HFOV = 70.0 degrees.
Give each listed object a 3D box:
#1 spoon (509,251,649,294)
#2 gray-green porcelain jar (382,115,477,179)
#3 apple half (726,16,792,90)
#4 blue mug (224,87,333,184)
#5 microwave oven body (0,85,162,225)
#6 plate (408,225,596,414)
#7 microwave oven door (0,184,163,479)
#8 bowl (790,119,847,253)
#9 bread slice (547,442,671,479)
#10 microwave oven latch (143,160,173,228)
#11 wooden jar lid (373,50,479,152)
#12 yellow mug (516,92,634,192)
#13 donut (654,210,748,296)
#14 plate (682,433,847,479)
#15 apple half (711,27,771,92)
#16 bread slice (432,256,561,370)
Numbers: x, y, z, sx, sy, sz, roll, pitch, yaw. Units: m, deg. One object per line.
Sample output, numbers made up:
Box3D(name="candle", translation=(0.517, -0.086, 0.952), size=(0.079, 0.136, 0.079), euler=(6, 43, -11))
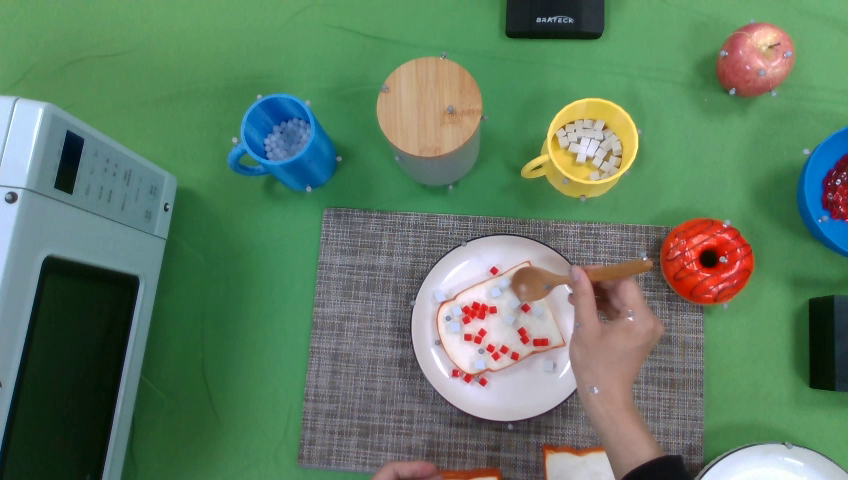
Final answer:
Box3D(name="spoon", translation=(0.146, 0.031, 0.600), size=(0.022, 0.193, 0.041), euler=(-25, 94, -26))
Box3D(name="gray-green porcelain jar", translation=(0.007, -0.130, 0.683), size=(0.106, 0.127, 0.105), euler=(-1, 81, 4))
Box3D(name="apple half", translation=(0.386, -0.218, 0.697), size=(0.053, 0.075, 0.080), euler=(-28, 76, -6))
Box3D(name="blue mug", translation=(-0.173, -0.112, 0.703), size=(0.116, 0.106, 0.082), euler=(-22, 79, 1))
Box3D(name="microwave oven body", translation=(-0.498, 0.085, 0.613), size=(0.326, 0.261, 0.440), euler=(7, 82, 5))
Box3D(name="plate", translation=(0.086, 0.088, 0.685), size=(0.207, 0.039, 0.207), euler=(-1, 81, 4))
Box3D(name="microwave oven door", translation=(-0.360, 0.143, 0.589), size=(0.039, 0.245, 0.354), euler=(6, 81, 5))
Box3D(name="bowl", translation=(0.468, -0.051, 0.663), size=(0.151, 0.077, 0.151), euler=(-1, 82, 4))
Box3D(name="bread slice", translation=(0.197, 0.268, 0.627), size=(0.135, 0.018, 0.106), euler=(-1, 78, -16))
Box3D(name="microwave oven latch", translation=(-0.322, -0.056, 0.720), size=(0.030, 0.029, 0.079), euler=(9, 83, 5))
Box3D(name="wooden jar lid", translation=(0.002, -0.141, 0.622), size=(0.108, 0.021, 0.108), euler=(-1, 79, 4))
Box3D(name="yellow mug", translation=(0.169, -0.106, 0.699), size=(0.131, 0.064, 0.099), euler=(-20, 80, 2))
Box3D(name="donut", translation=(0.308, 0.015, 0.677), size=(0.099, 0.048, 0.098), euler=(-1, 82, 4))
Box3D(name="plate", translation=(0.362, 0.308, 0.635), size=(0.209, 0.038, 0.208), euler=(-1, 81, 4))
Box3D(name="apple half", translation=(0.352, -0.198, 0.694), size=(0.033, 0.081, 0.081), euler=(-29, 80, -5))
Box3D(name="bread slice", translation=(0.077, 0.089, 0.687), size=(0.131, 0.019, 0.104), euler=(-23, 79, -1))
